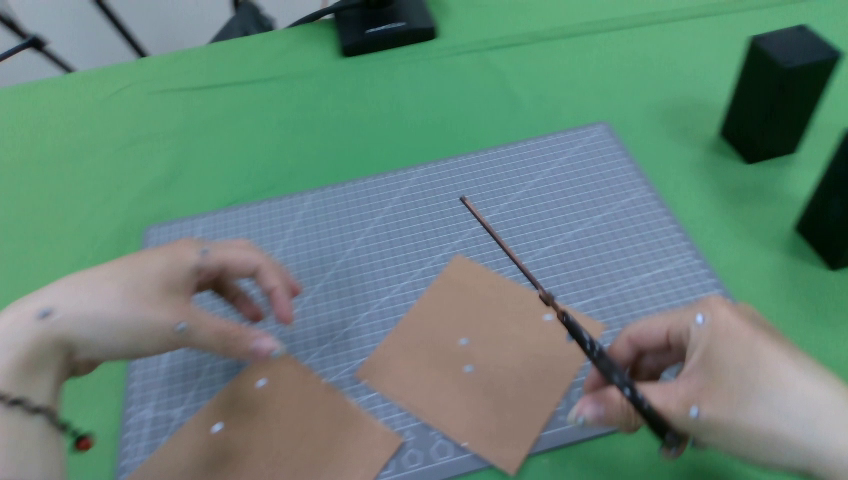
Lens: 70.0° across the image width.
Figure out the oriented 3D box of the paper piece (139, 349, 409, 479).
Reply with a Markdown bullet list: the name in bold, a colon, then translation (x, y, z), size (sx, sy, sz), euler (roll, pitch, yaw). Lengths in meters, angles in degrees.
- **paper piece**: translation (-0.103, 0.150, 0.398), size (0.135, 0.009, 0.138), euler (26, 58, 32)

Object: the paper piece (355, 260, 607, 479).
- **paper piece**: translation (0.042, 0.084, 0.438), size (0.134, 0.004, 0.135), euler (25, 55, 27)

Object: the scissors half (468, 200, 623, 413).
- **scissors half**: translation (0.080, 0.045, 0.345), size (0.013, 0.175, 0.040), euler (-38, 7, 8)

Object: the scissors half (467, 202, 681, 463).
- **scissors half**: translation (0.078, 0.047, 0.325), size (0.013, 0.040, 0.174), euler (-39, 81, 3)
